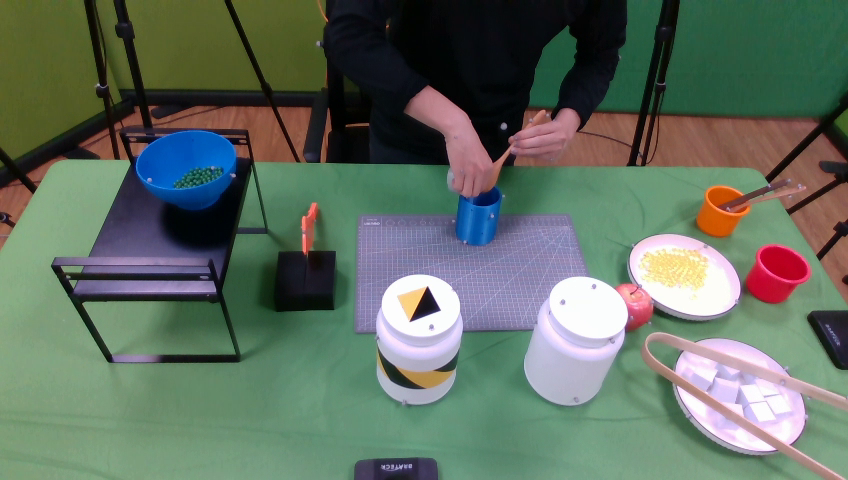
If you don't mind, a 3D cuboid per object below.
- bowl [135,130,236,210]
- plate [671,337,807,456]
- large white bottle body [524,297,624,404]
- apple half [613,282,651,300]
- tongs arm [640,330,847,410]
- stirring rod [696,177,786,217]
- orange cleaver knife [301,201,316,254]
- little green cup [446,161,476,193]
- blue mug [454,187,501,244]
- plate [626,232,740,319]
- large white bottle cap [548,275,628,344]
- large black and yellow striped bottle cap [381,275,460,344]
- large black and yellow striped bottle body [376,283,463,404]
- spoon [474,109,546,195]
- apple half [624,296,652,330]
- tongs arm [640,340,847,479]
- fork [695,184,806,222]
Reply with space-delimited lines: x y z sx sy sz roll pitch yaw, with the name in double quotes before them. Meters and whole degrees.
"bowl" -0.375 -0.102 0.978 0.151 0.077 0.150 2 46 -2
"plate" 0.504 0.254 0.984 0.208 0.039 0.206 2 46 -2
"large white bottle body" 0.235 0.159 0.952 0.131 0.185 0.130 2 47 -2
"apple half" 0.356 0.109 1.086 0.081 0.075 0.053 -13 44 -12
"tongs arm" 0.543 0.225 0.969 0.384 0.026 0.050 22 52 13
"stirring rod" 0.648 -0.087 1.244 0.176 0.006 0.014 -25 50 29
"orange cleaver knife" -0.221 -0.027 1.161 0.012 0.077 0.210 -1 15 -4
"little green cup" 0.070 -0.118 1.141 0.038 0.062 0.061 2 42 28
"blue mug" 0.106 -0.067 1.208 0.082 0.106 0.116 6 46 1
"plate" 0.489 0.070 1.157 0.209 0.038 0.208 3 46 -3
"large white bottle cap" 0.240 0.100 0.890 0.115 0.018 0.114 3 47 -3
"large black and yellow striped bottle cap" -0.005 0.098 0.874 0.115 0.019 0.114 2 45 -2
"large black and yellow striped bottle body" -0.010 0.155 0.937 0.131 0.185 0.130 2 47 -2
"spoon" 0.159 -0.163 1.113 0.041 0.021 0.193 39 92 9
"apple half" 0.368 0.135 1.060 0.081 0.081 0.032 -11 43 -15
"tongs arm" 0.500 0.277 0.919 0.386 0.028 0.028 34 59 22
"fork" 0.658 -0.074 1.230 0.207 0.019 0.028 -24 34 36
